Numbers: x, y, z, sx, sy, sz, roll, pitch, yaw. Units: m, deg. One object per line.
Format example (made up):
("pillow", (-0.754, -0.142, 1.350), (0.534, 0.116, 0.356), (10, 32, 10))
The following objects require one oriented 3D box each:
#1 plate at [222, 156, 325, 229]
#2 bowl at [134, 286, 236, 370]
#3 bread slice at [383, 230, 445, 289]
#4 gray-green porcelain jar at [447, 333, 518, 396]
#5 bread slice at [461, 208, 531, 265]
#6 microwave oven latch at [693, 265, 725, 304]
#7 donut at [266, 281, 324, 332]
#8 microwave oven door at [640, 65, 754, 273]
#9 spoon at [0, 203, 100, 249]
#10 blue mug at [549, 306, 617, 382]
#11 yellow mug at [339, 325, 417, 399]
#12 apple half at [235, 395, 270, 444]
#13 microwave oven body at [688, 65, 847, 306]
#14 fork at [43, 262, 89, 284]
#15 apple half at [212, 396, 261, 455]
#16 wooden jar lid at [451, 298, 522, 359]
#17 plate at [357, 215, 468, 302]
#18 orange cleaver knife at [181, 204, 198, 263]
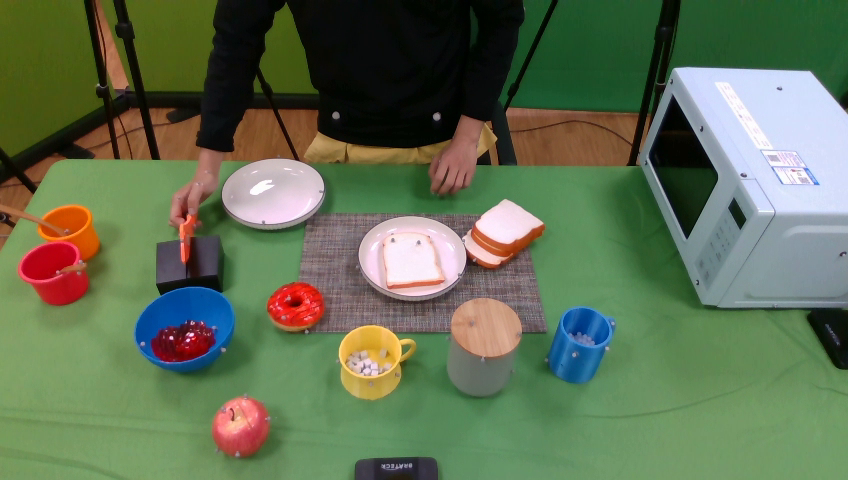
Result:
("plate", (-0.308, -0.095, 1.251), (0.209, 0.038, 0.208), (3, 47, -2))
("bowl", (-0.377, 0.155, 0.981), (0.151, 0.077, 0.150), (2, 46, -2))
("bread slice", (-0.028, 0.035, 1.145), (0.107, 0.018, 0.133), (-7, 48, -11))
("gray-green porcelain jar", (0.091, 0.178, 0.960), (0.106, 0.127, 0.105), (2, 46, -2))
("bread slice", (0.133, -0.005, 1.193), (0.104, 0.019, 0.131), (30, 51, 22))
("microwave oven latch", (0.522, 0.081, 1.115), (0.030, 0.029, 0.078), (2, 46, -1))
("donut", (-0.222, 0.114, 1.049), (0.099, 0.048, 0.098), (2, 46, -2))
("microwave oven door", (0.523, -0.147, 1.193), (0.039, 0.245, 0.353), (0, 47, -3))
("spoon", (-0.683, -0.031, 1.088), (0.195, 0.021, 0.041), (33, 33, -38))
("blue mug", (0.269, 0.166, 0.998), (0.116, 0.106, 0.082), (-19, 51, -21))
("yellow mug", (-0.072, 0.190, 0.978), (0.131, 0.064, 0.099), (-17, 50, -20))
("apple half", (-0.245, 0.259, 0.893), (0.033, 0.082, 0.081), (-29, 55, -22))
("microwave oven body", (0.669, -0.111, 1.176), (0.326, 0.261, 0.439), (0, 46, -3))
("fork", (-0.599, 0.053, 1.013), (0.207, 0.019, 0.028), (-14, 30, 45))
("apple half", (-0.276, 0.276, 0.877), (0.053, 0.075, 0.080), (-29, 58, -21))
("wooden jar lid", (0.093, 0.135, 0.914), (0.108, 0.021, 0.107), (3, 48, -3))
("plate", (-0.022, 0.037, 1.141), (0.208, 0.039, 0.206), (2, 46, -2))
("orange cleaver knife", (-0.433, -0.016, 1.124), (0.012, 0.077, 0.210), (-4, 18, -13))
